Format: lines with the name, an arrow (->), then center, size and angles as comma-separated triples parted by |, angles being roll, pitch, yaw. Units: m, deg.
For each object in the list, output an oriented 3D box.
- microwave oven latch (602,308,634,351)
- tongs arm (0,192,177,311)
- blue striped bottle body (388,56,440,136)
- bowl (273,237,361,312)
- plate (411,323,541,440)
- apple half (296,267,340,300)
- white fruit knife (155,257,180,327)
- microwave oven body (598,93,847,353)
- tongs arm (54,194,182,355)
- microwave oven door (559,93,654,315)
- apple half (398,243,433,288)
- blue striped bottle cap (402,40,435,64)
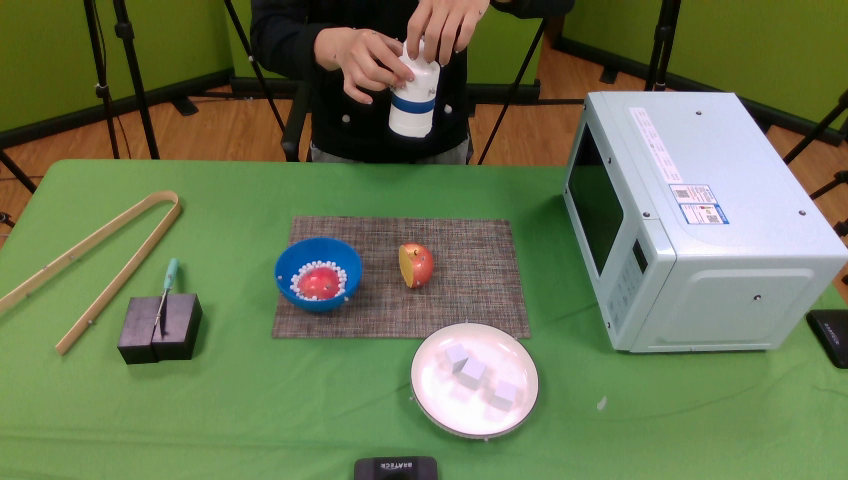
microwave oven latch -> 0.332, 0.153, 1.044 | 0.030, 0.029, 0.078 | -1, 45, -4
tongs arm -> -0.618, 0.019, 1.124 | 0.050, 0.026, 0.384 | 24, 47, 16
blue striped bottle body -> -0.014, -0.212, 0.848 | 0.063, 0.121, 0.062 | 6, 38, -5
bowl -> -0.186, 0.074, 1.069 | 0.151, 0.077, 0.150 | 3, 46, -3
plate -> 0.082, 0.228, 0.976 | 0.208, 0.039, 0.206 | 2, 45, -2
apple half -> -0.187, 0.070, 1.067 | 0.081, 0.033, 0.081 | 2, 47, -2
white fruit knife -> -0.440, 0.085, 1.037 | 0.016, 0.027, 0.206 | 10, 26, -19
microwave oven body -> 0.475, -0.041, 1.109 | 0.326, 0.261, 0.438 | -1, 45, -4
tongs arm -> -0.543, 0.048, 1.108 | 0.028, 0.028, 0.385 | 11, 46, 9
microwave oven door -> 0.327, -0.074, 1.123 | 0.039, 0.245, 0.353 | -1, 46, -5
apple half -> -0.012, 0.046, 1.115 | 0.053, 0.075, 0.080 | -11, 44, -19
blue striped bottle cap -> -0.007, -0.254, 0.815 | 0.044, 0.021, 0.044 | 7, 33, -5
